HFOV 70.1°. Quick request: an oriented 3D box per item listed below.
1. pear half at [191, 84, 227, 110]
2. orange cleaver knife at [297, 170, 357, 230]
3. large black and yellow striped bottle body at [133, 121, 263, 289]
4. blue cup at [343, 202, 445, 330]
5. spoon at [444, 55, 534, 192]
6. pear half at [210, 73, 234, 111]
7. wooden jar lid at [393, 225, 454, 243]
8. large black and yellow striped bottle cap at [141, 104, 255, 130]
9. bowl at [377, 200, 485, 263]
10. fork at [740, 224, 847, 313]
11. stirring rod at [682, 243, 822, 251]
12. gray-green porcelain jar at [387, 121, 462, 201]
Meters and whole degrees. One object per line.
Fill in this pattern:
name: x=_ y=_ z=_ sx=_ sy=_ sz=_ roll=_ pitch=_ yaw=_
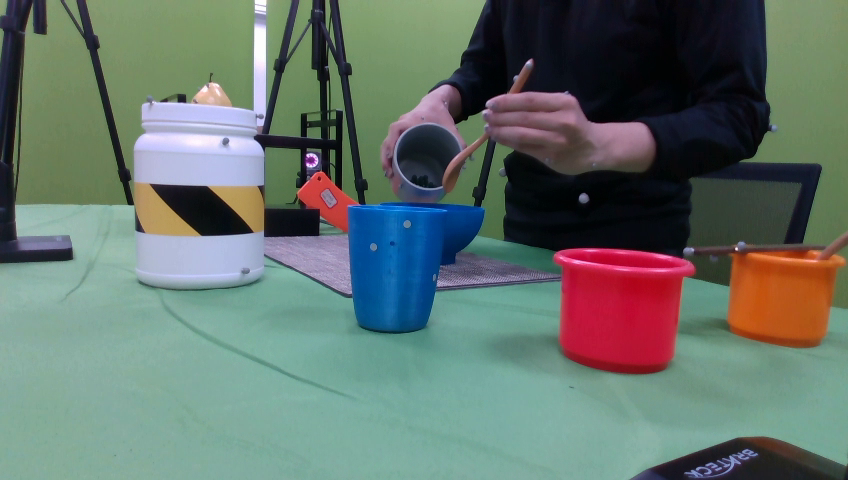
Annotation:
pear half: x=-0.406 y=-0.248 z=1.128 sx=0.070 sy=0.088 sz=0.031 roll=5 pitch=7 yaw=2
orange cleaver knife: x=-0.149 y=-0.058 z=1.170 sx=0.212 sy=0.077 sz=0.012 roll=33 pitch=-15 yaw=-32
large black and yellow striped bottle body: x=-0.243 y=-0.048 z=0.659 sx=0.131 sy=0.184 sz=0.130 roll=2 pitch=7 yaw=0
blue cup: x=-0.027 y=0.021 z=0.510 sx=0.093 sy=0.100 sz=0.092 roll=3 pitch=5 yaw=0
spoon: x=0.072 y=-0.128 z=0.691 sx=0.021 sy=0.193 sz=0.042 roll=42 pitch=37 yaw=5
pear half: x=-0.402 y=-0.262 z=1.162 sx=0.076 sy=0.109 sz=0.056 roll=6 pitch=7 yaw=2
wooden jar lid: x=-0.001 y=-0.011 z=1.058 sx=0.108 sy=0.020 sz=0.108 roll=8 pitch=6 yaw=0
large black and yellow striped bottle cap: x=-0.241 y=-0.131 z=0.650 sx=0.115 sy=0.019 sz=0.115 roll=3 pitch=8 yaw=0
bowl: x=0.008 y=-0.012 z=0.841 sx=0.151 sy=0.077 sz=0.151 roll=2 pitch=7 yaw=0
fork: x=0.323 y=0.013 z=0.485 sx=0.028 sy=0.018 sz=0.207 roll=8 pitch=-37 yaw=-6
stirring rod: x=0.290 y=0.006 z=0.525 sx=0.177 sy=0.006 sz=0.014 roll=0 pitch=3 yaw=-26
gray-green porcelain jar: x=-0.003 y=-0.114 z=0.944 sx=0.106 sy=0.105 sz=0.126 roll=1 pitch=-10 yaw=-8
